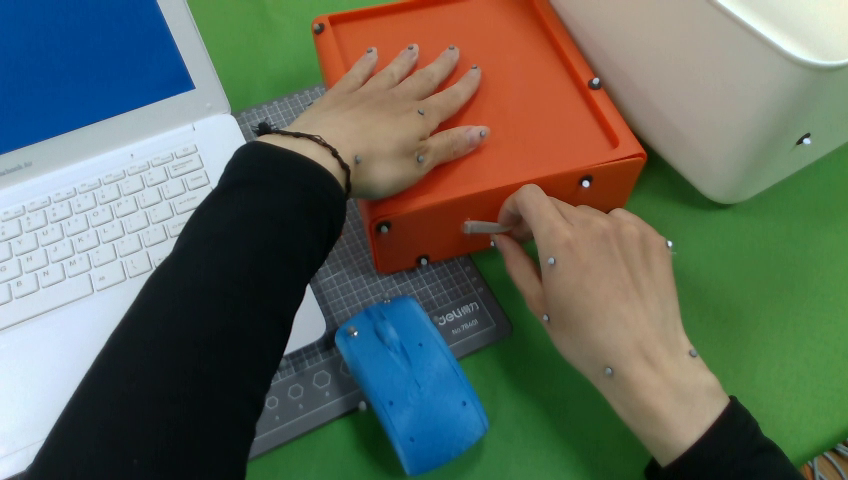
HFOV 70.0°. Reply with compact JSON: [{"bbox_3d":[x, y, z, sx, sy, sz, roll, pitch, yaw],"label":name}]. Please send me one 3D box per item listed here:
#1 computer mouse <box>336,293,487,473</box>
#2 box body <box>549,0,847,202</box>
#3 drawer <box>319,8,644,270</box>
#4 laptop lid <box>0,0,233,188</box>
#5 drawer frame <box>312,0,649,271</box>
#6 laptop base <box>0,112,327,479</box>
[{"bbox_3d":[-0.011,0.087,0.393,0.063,0.041,0.116,-26,60,-11],"label":"computer mouse"},{"bbox_3d":[0.242,-0.233,0.515,0.254,0.162,0.360,-27,61,-15],"label":"box body"},{"bbox_3d":[0.033,-0.097,0.482,0.195,0.074,0.209,-14,58,-8],"label":"drawer"},{"bbox_3d":[-0.352,-0.141,0.439,0.357,0.244,0.013,-24,30,-12],"label":"laptop lid"},{"bbox_3d":[0.032,-0.100,0.483,0.202,0.083,0.211,-15,58,-8],"label":"drawer frame"},{"bbox_3d":[-0.272,0.045,0.441,0.355,0.023,0.233,-23,63,-12],"label":"laptop base"}]
